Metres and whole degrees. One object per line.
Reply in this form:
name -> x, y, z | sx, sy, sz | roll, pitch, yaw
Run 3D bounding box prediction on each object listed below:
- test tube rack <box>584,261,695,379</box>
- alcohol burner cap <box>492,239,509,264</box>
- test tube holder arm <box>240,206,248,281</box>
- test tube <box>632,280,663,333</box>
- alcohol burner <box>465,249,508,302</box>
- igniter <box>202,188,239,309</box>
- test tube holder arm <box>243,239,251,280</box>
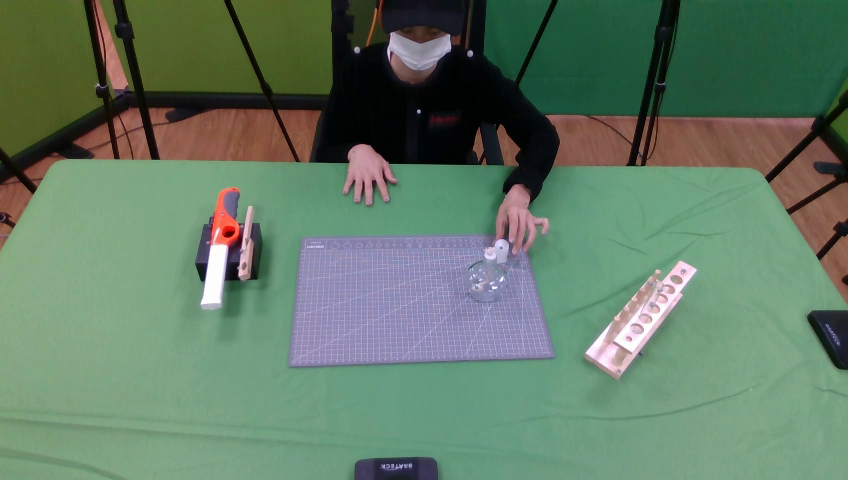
test tube rack -> 0.380, 0.127, 1.062 | 0.066, 0.085, 0.242 | 34, 53, 26
alcohol burner cap -> 0.150, 0.020, 1.174 | 0.034, 0.048, 0.033 | 1, 45, -1
test tube holder arm -> -0.328, 0.002, 1.106 | 0.013, 0.015, 0.177 | -6, 48, -10
test tube -> 0.363, 0.121, 0.997 | 0.017, 0.151, 0.017 | 2, 44, -1
alcohol burner -> 0.114, 0.057, 1.085 | 0.078, 0.120, 0.077 | 2, 48, -2
igniter -> -0.367, 0.006, 1.095 | 0.057, 0.025, 0.274 | -2, 50, -7
test tube holder arm -> -0.315, 0.034, 1.077 | 0.010, 0.015, 0.087 | -4, 48, -9
